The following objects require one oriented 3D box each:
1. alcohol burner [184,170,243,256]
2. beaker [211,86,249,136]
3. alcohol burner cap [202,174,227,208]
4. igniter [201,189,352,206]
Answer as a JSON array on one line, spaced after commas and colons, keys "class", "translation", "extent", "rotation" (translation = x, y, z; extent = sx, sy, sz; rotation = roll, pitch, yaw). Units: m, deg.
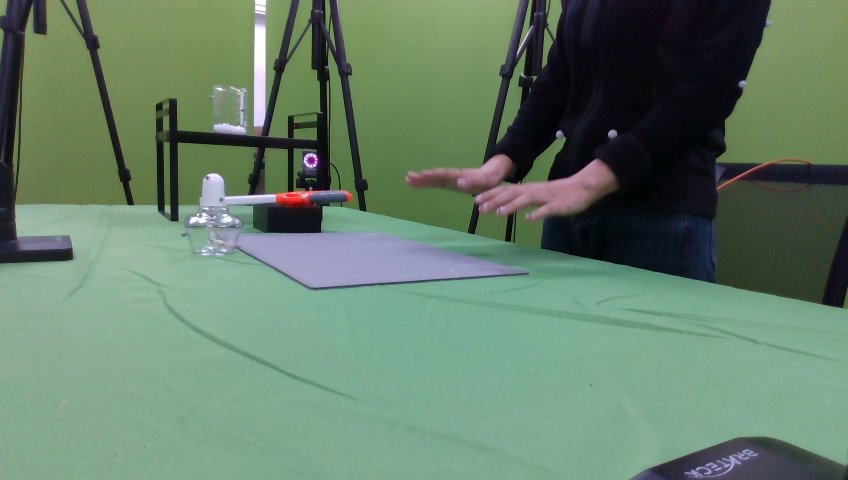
[{"class": "alcohol burner", "translation": [-0.296, -0.038, 0.851], "extent": [0.078, 0.119, 0.078], "rotation": [2, 5, 0]}, {"class": "beaker", "translation": [-0.413, -0.274, 1.297], "extent": [0.074, 0.100, 0.083], "rotation": [-5, 11, -44]}, {"class": "alcohol burner cap", "translation": [-0.293, -0.068, 0.846], "extent": [0.034, 0.048, 0.034], "rotation": [0, 6, 0]}, {"class": "igniter", "translation": [-0.271, -0.078, 1.140], "extent": [0.278, 0.025, 0.057], "rotation": [-5, 11, -27]}]
